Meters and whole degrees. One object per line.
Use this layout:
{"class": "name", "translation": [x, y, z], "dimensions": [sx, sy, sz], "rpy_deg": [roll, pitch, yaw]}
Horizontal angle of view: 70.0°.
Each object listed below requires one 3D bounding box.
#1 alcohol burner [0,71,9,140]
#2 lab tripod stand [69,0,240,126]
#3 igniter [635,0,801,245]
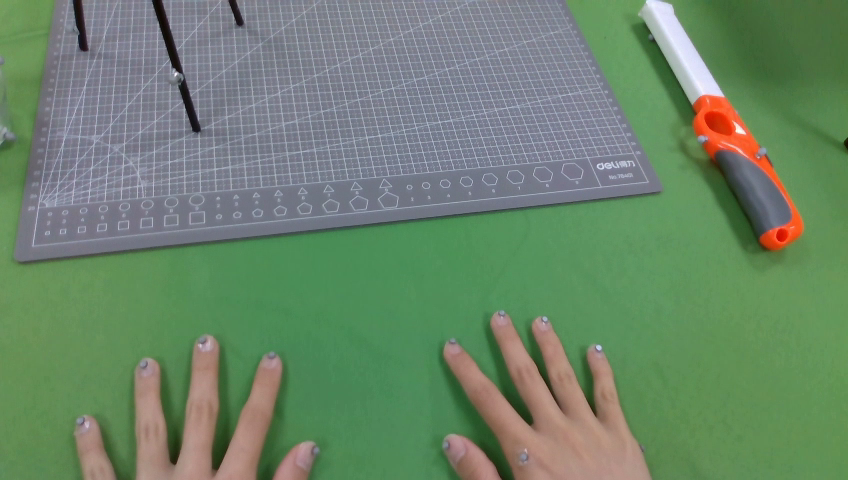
{"class": "alcohol burner", "translation": [-0.311, -0.107, 0.374], "dimensions": [0.078, 0.120, 0.077], "rpy_deg": [5, 54, -6]}
{"class": "lab tripod stand", "translation": [-0.187, -0.174, 0.420], "dimensions": [0.149, 0.132, 0.147], "rpy_deg": [5, 57, -7]}
{"class": "igniter", "translation": [0.241, -0.113, 0.511], "dimensions": [0.057, 0.025, 0.273], "rpy_deg": [1, 57, -20]}
